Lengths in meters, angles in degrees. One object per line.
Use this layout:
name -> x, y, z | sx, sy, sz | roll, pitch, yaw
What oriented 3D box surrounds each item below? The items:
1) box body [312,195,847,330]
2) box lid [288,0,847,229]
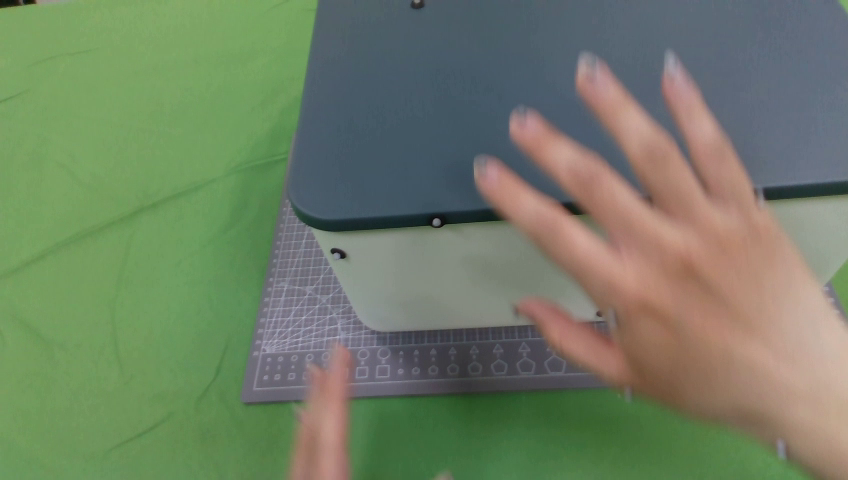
box body -> 0.111, -0.076, 0.466 | 0.364, 0.162, 0.251 | -4, 52, 5
box lid -> 0.100, -0.121, 0.408 | 0.371, 0.015, 0.260 | -4, 53, 4
